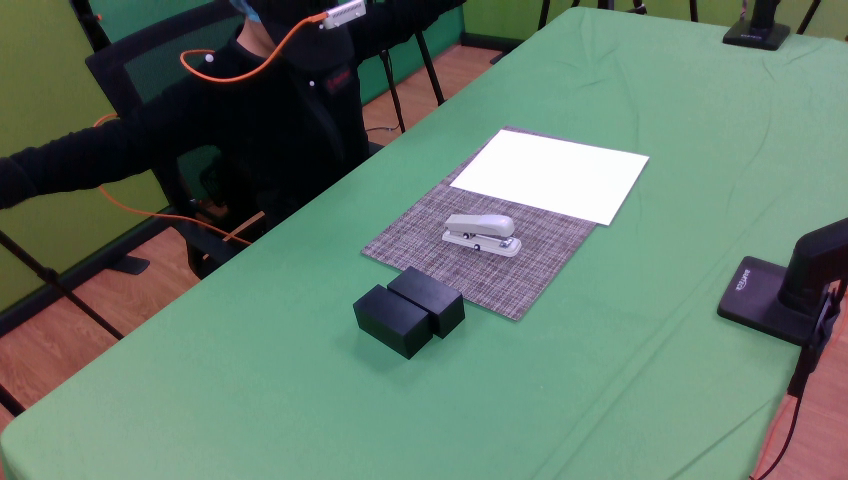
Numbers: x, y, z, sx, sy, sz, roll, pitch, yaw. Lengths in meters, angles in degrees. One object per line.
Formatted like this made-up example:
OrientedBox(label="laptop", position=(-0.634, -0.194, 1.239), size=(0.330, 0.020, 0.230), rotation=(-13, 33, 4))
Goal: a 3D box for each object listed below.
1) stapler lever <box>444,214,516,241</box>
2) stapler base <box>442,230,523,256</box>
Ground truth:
OrientedBox(label="stapler lever", position=(0.088, -0.026, 0.952), size=(0.117, 0.040, 0.027), rotation=(13, 42, 27))
OrientedBox(label="stapler base", position=(0.093, -0.007, 0.967), size=(0.129, 0.024, 0.041), rotation=(13, 42, 27))
